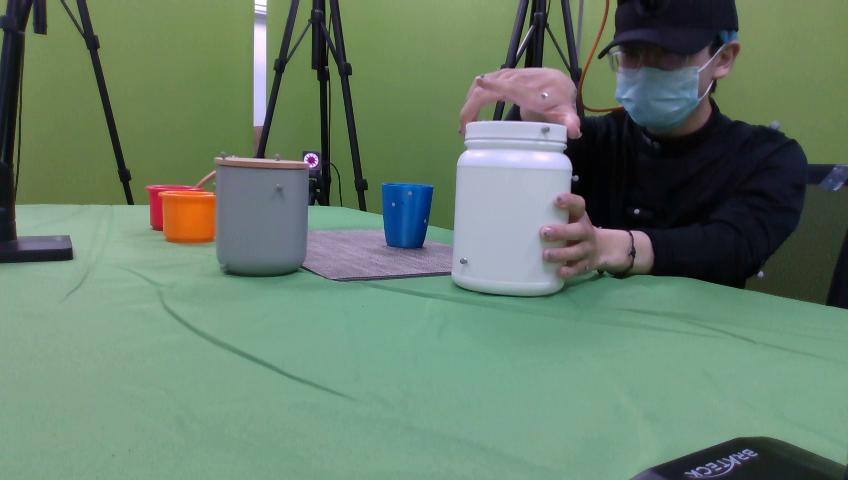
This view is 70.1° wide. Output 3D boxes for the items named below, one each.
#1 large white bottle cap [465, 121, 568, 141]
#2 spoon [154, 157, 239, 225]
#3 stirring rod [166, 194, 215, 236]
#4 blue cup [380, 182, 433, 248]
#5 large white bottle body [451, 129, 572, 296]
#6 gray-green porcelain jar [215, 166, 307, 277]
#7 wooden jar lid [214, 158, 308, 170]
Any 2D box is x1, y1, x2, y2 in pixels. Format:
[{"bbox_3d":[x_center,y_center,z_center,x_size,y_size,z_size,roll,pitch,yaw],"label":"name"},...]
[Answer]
[{"bbox_3d":[0.104,-0.121,0.680,0.115,0.018,0.115,2,8,0],"label":"large white bottle cap"},{"bbox_3d":[-0.411,-0.092,1.104,0.041,0.022,0.194,12,56,52],"label":"spoon"},{"bbox_3d":[-0.341,-0.066,0.967,0.176,0.006,0.014,-42,23,-9],"label":"stirring rod"},{"bbox_3d":[-0.029,-0.042,0.979,0.093,0.100,0.092,1,9,0],"label":"blue cup"},{"bbox_3d":[0.099,-0.037,0.690,0.131,0.184,0.130,2,7,0],"label":"large white bottle body"},{"bbox_3d":[-0.195,-0.024,0.726,0.106,0.126,0.106,3,7,0],"label":"gray-green porcelain jar"},{"bbox_3d":[-0.193,-0.085,0.719,0.108,0.020,0.108,2,9,0],"label":"wooden jar lid"}]
